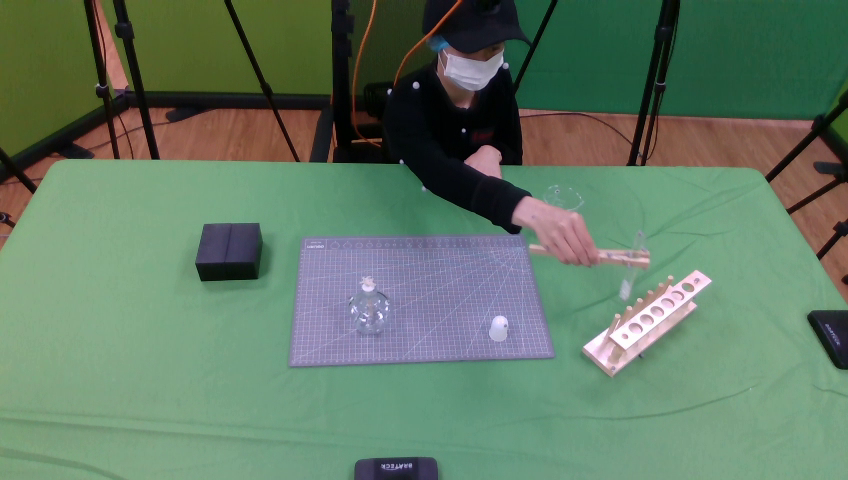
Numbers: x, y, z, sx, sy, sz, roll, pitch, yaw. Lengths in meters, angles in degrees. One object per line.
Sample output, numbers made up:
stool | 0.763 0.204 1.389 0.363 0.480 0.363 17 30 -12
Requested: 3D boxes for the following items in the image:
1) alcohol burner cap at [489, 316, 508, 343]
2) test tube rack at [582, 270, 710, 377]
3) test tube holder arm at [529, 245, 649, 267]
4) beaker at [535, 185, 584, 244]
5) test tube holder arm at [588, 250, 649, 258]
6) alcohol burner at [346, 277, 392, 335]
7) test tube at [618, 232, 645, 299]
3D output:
alcohol burner cap | 0.130 0.151 1.045 0.034 0.048 0.033 3 46 -2
test tube rack | 0.389 0.132 1.057 0.242 0.085 0.066 -28 54 -28
test tube holder arm | 0.250 0.024 0.930 0.178 0.015 0.013 5 45 19
beaker | 0.268 -0.048 1.213 0.084 0.101 0.073 6 46 0
test tube holder arm | 0.294 0.022 0.920 0.088 0.015 0.010 0 44 14
alcohol burner | -0.093 0.106 1.021 0.078 0.120 0.077 1 46 -1
test tube | 0.316 0.043 0.929 0.017 0.151 0.017 -3 48 3
